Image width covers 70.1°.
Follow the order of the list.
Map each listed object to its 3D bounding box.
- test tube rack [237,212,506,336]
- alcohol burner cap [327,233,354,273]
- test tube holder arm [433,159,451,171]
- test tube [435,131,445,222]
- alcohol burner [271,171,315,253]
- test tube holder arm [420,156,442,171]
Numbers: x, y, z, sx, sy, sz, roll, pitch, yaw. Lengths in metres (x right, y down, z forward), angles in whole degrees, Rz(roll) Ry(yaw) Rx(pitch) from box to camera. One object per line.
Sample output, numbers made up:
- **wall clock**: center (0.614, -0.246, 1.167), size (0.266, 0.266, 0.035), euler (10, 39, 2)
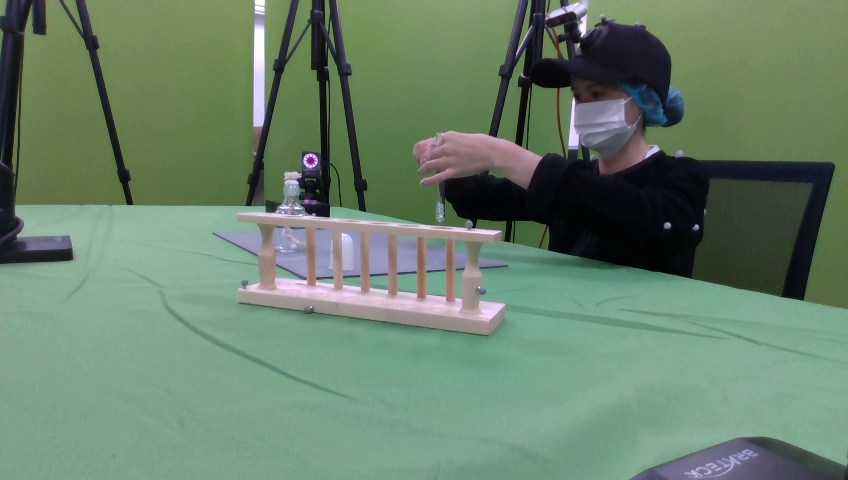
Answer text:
- **test tube rack**: center (-0.049, 0.024, 0.552), size (0.242, 0.085, 0.067), euler (5, 8, 18)
- **alcohol burner cap**: center (-0.104, 0.015, 0.752), size (0.034, 0.048, 0.034), euler (3, 6, 0)
- **test tube holder arm**: center (0.026, -0.128, 1.028), size (0.010, 0.015, 0.087), euler (1, 12, -20)
- **test tube**: center (0.028, -0.105, 1.006), size (0.017, 0.150, 0.017), euler (0, 7, 0)
- **alcohol burner**: center (-0.196, -0.041, 0.884), size (0.078, 0.119, 0.078), euler (3, 5, 0)
- **test tube holder arm**: center (0.010, -0.137, 1.069), size (0.013, 0.015, 0.178), euler (3, 11, -12)
